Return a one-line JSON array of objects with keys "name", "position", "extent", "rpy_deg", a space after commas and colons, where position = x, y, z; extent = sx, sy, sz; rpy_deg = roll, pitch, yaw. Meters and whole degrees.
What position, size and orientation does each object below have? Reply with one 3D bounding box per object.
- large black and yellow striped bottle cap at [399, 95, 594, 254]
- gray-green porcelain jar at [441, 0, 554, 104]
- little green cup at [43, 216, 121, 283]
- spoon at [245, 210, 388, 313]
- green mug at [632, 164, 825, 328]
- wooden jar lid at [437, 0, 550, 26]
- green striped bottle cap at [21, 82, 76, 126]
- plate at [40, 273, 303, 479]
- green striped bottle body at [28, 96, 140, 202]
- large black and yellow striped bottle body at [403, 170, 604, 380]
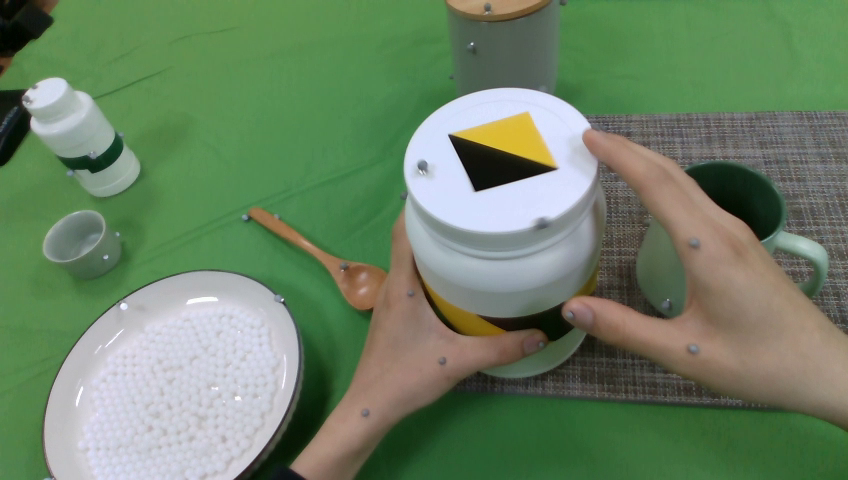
[{"name": "large black and yellow striped bottle cap", "position": [0.042, -0.043, 0.360], "extent": [0.115, 0.019, 0.114], "rpy_deg": [-4, 54, 6]}, {"name": "gray-green porcelain jar", "position": [0.075, -0.184, 0.603], "extent": [0.106, 0.128, 0.105], "rpy_deg": [-5, 50, 6]}, {"name": "little green cup", "position": [-0.330, 0.011, 0.590], "extent": [0.061, 0.039, 0.061], "rpy_deg": [-5, 53, 7]}, {"name": "spoon", "position": [-0.106, 0.012, 0.560], "extent": [0.192, 0.022, 0.041], "rpy_deg": [31, 80, 27]}, {"name": "green mug", "position": [0.224, 0.012, 0.448], "extent": [0.124, 0.106, 0.092], "rpy_deg": [19, 60, 22]}, {"name": "wooden jar lid", "position": [0.066, -0.224, 0.555], "extent": [0.108, 0.021, 0.107], "rpy_deg": [-7, 52, 9]}, {"name": "green striped bottle cap", "position": [-0.359, -0.130, 0.581], "extent": [0.044, 0.020, 0.044], "rpy_deg": [-3, 56, 5]}, {"name": "plate", "position": [-0.195, 0.122, 0.488], "extent": [0.209, 0.038, 0.207], "rpy_deg": [-4, 54, 6]}, {"name": "green striped bottle body", "position": [-0.352, -0.099, 0.622], "extent": [0.063, 0.120, 0.062], "rpy_deg": [-5, 54, 7]}, {"name": "large black and yellow striped bottle body", "position": [0.057, 0.007, 0.431], "extent": [0.130, 0.186, 0.129], "rpy_deg": [-5, 54, 7]}]
